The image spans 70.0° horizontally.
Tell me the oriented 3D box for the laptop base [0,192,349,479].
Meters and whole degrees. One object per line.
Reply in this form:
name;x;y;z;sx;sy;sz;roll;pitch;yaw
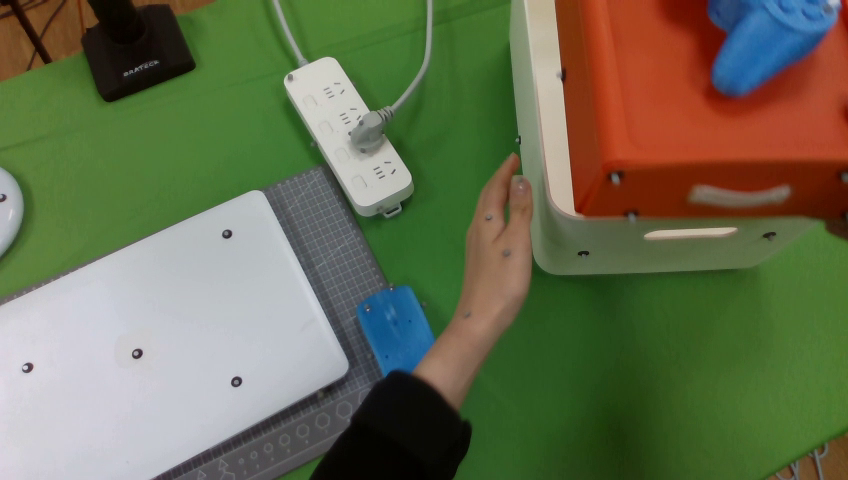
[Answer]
laptop base;-0.280;0.116;0.610;0.354;0.023;0.234;-27;72;-10

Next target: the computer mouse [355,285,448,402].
computer mouse;-0.024;0.098;0.599;0.063;0.041;0.116;-22;63;-7

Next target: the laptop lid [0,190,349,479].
laptop lid;-0.279;0.113;0.599;0.357;0.013;0.240;-25;70;-9

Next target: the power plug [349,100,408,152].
power plug;-0.048;-0.120;0.677;0.072;0.053;0.035;-17;66;-7

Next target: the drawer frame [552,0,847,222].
drawer frame;0.203;-0.123;0.433;0.202;0.083;0.212;-1;65;-1

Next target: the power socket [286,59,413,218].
power socket;-0.089;-0.122;0.704;0.072;0.033;0.225;-27;68;-12

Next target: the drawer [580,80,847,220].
drawer;0.203;-0.120;0.433;0.194;0.074;0.210;-1;65;0

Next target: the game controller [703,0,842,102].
game controller;0.199;-0.171;0.399;0.097;0.052;0.154;-22;69;-15

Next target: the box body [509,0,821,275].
box body;0.227;-0.151;0.638;0.254;0.161;0.361;-2;66;0

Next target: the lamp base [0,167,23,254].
lamp base;-0.544;-0.057;0.607;0.178;0.181;0.160;20;67;14
